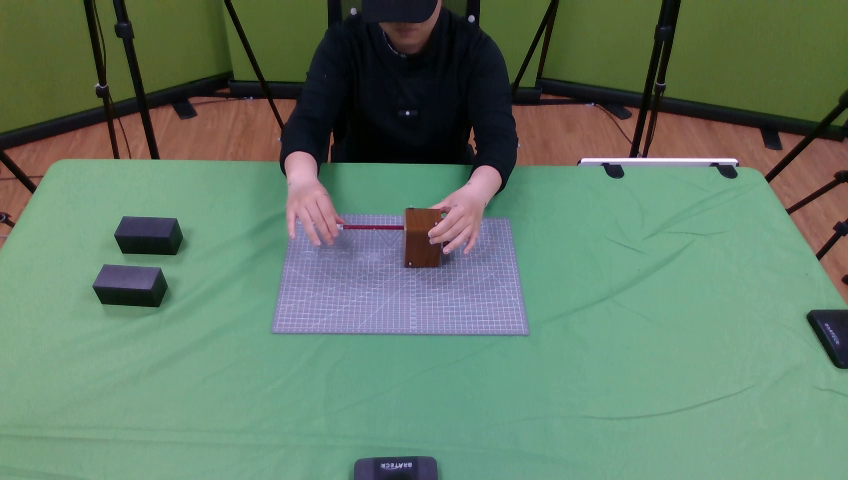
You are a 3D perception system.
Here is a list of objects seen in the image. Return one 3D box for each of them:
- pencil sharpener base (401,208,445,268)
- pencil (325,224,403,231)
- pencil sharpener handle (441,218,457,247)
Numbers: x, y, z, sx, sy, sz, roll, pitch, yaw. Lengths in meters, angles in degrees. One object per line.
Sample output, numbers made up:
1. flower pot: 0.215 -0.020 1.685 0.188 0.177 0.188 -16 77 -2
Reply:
1. pencil sharpener base: -0.003 -0.002 1.137 0.077 0.107 0.061 0 46 -5
2. pencil: -0.083 -0.023 1.111 0.194 0.012 0.012 0 46 -7
3. pencil sharpener handle: 0.048 -0.012 1.133 0.031 0.068 0.036 0 48 -5
